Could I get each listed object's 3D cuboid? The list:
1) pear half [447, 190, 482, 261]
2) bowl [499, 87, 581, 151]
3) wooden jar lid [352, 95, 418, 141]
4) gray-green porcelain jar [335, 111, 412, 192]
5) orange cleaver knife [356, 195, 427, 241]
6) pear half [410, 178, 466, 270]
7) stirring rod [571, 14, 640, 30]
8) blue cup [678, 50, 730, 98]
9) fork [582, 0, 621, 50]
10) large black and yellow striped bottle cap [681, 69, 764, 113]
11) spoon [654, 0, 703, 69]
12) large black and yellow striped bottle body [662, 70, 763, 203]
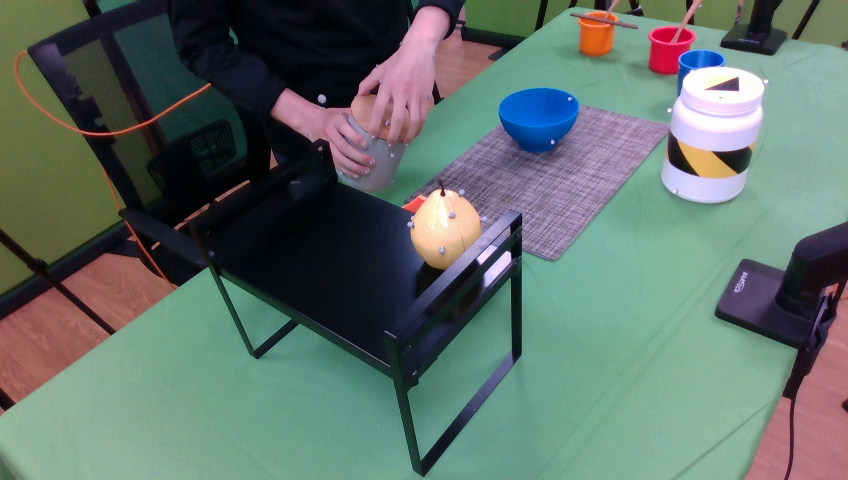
[{"bbox_3d":[0.046,-0.020,0.664,0.031,0.088,0.070,-17,38,-9],"label":"pear half"},{"bbox_3d":[0.220,-0.223,1.156,0.151,0.077,0.150,-5,40,4],"label":"bowl"},{"bbox_3d":[-0.064,-0.191,0.965,0.109,0.020,0.108,15,42,-14],"label":"wooden jar lid"},{"bbox_3d":[-0.086,-0.152,1.008,0.106,0.126,0.105,15,45,-15],"label":"gray-green porcelain jar"},{"bbox_3d":[-0.037,-0.029,0.973,0.210,0.077,0.012,-8,33,50],"label":"orange cleaver knife"},{"bbox_3d":[0.011,-0.019,0.654,0.056,0.110,0.076,-16,37,-9],"label":"pear half"},{"bbox_3d":[0.419,-0.508,1.404,0.174,0.006,0.014,28,55,35],"label":"stirring rod"},{"bbox_3d":[0.542,-0.310,1.194,0.092,0.101,0.092,-6,41,6],"label":"blue cup"},{"bbox_3d":[0.446,-0.539,1.438,0.207,0.019,0.028,-57,36,12],"label":"fork"},{"bbox_3d":[0.453,-0.229,0.921,0.115,0.019,0.114,-4,39,4],"label":"large black and yellow striped bottle cap"},{"bbox_3d":[0.569,-0.462,1.335,0.041,0.022,0.193,34,99,37],"label":"spoon"},{"bbox_3d":[0.464,-0.166,0.976,0.131,0.185,0.130,-5,41,5],"label":"large black and yellow striped bottle body"}]
